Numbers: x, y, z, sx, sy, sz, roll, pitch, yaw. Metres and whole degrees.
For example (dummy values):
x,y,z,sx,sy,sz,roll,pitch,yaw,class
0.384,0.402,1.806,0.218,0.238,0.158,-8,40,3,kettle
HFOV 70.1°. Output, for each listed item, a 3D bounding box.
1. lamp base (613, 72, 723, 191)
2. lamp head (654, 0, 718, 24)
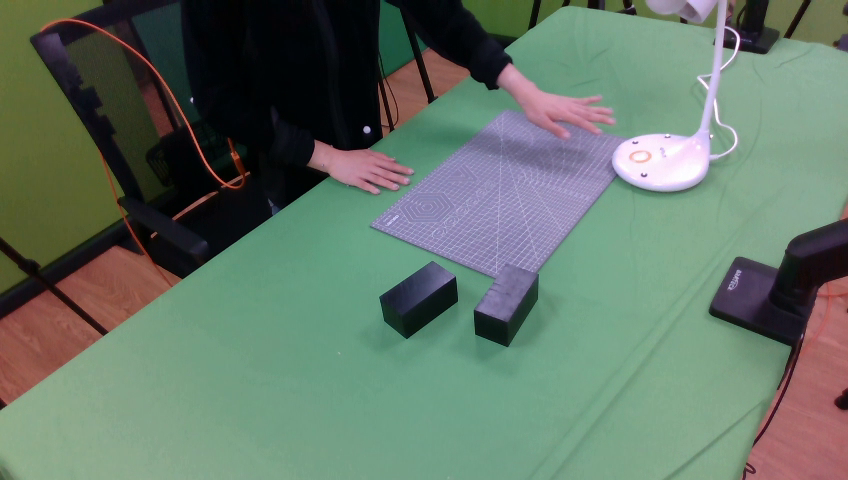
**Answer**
x,y,z,sx,sy,sz,roll,pitch,yaw,class
0.423,-0.198,1.020,0.179,0.181,0.159,-6,42,-3,lamp base
0.356,-0.361,0.788,0.123,0.113,0.111,-51,42,13,lamp head
